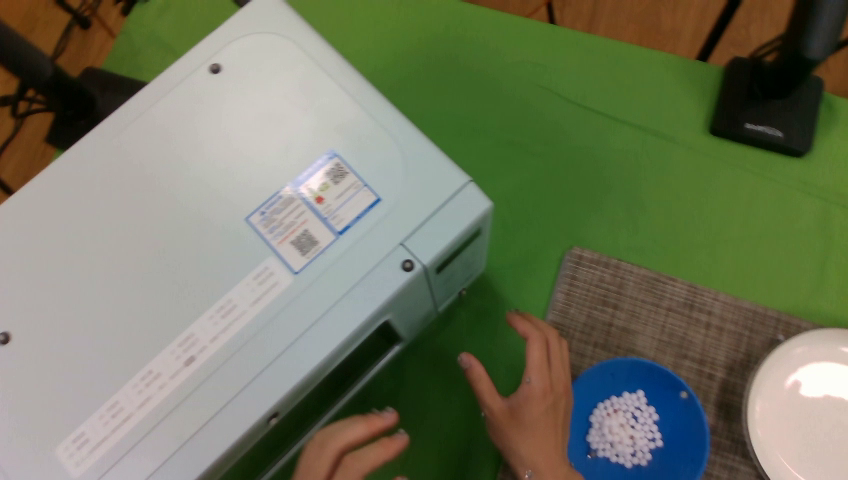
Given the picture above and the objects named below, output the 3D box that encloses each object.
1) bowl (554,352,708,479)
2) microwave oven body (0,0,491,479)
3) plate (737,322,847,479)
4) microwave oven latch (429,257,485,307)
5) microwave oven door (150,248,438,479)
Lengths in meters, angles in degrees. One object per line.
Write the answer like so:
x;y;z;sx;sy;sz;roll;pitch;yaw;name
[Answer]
0.208;0.197;0.638;0.151;0.077;0.150;-1;74;4;bowl
-0.201;0.034;0.614;0.441;0.261;0.324;-44;77;-7;microwave oven body
0.438;0.193;0.646;0.207;0.039;0.206;-1;75;3;plate
0.036;0.040;0.698;0.079;0.029;0.030;-42;77;-7;microwave oven latch
-0.131;0.160;0.570;0.355;0.245;0.039;-44;75;-8;microwave oven door
